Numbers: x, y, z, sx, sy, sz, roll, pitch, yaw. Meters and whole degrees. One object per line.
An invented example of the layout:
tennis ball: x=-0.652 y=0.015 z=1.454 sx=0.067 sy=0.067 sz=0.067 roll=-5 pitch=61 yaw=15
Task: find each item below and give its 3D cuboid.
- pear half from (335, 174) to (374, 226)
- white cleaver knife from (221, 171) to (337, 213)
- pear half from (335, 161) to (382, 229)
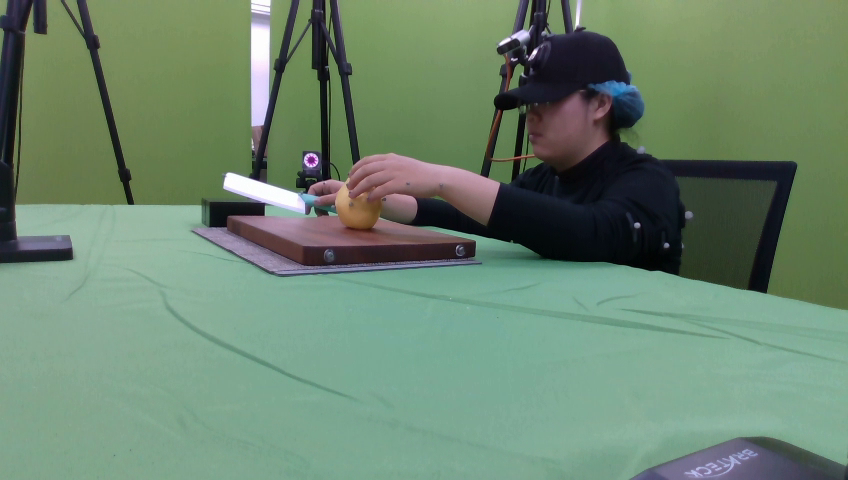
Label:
pear half: x=-0.121 y=-0.067 z=1.004 sx=0.071 sy=0.088 sz=0.031 roll=-14 pitch=16 yaw=-38
white cleaver knife: x=-0.268 y=-0.079 z=1.228 sx=0.288 sy=0.021 sz=0.065 roll=15 pitch=43 yaw=-28
pear half: x=-0.100 y=-0.072 z=0.974 sx=0.077 sy=0.110 sz=0.055 roll=-9 pitch=13 yaw=-39
